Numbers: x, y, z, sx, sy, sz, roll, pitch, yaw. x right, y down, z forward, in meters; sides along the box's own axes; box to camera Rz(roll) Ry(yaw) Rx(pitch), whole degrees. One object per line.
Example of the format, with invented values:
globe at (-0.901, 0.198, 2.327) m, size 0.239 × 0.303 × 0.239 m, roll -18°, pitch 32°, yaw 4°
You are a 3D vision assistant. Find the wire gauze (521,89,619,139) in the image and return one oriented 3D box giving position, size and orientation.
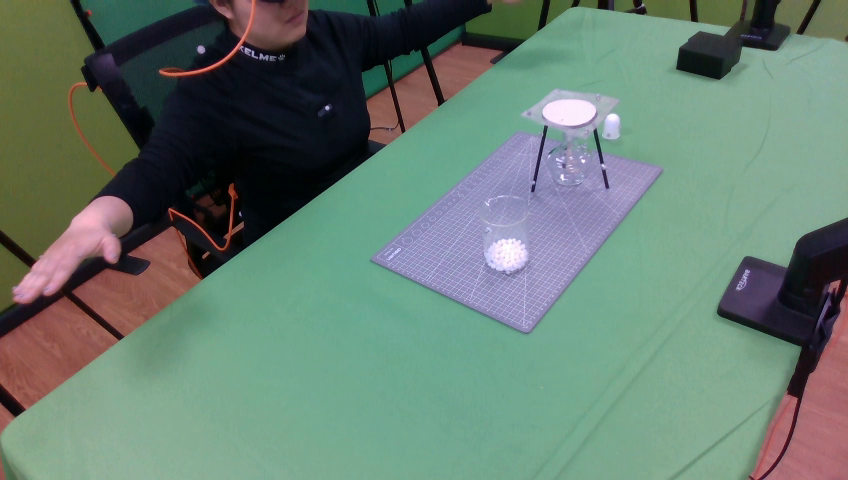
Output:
wire gauze at (0.239, -0.213, 0.994) m, size 0.124 × 0.011 × 0.122 m, roll 24°, pitch 49°, yaw 32°

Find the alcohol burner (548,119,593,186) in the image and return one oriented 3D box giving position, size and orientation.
alcohol burner at (0.252, -0.154, 1.042) m, size 0.078 × 0.120 × 0.077 m, roll -7°, pitch 40°, yaw 6°

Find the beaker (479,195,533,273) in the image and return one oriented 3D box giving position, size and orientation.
beaker at (0.122, -0.007, 0.904) m, size 0.074 × 0.101 × 0.083 m, roll -30°, pitch 43°, yaw -23°

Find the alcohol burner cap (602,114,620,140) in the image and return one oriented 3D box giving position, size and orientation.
alcohol burner cap at (0.359, -0.217, 1.157) m, size 0.034 × 0.048 × 0.033 m, roll -6°, pitch 40°, yaw 6°

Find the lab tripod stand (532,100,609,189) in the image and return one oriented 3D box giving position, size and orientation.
lab tripod stand at (0.251, -0.161, 1.034) m, size 0.148 × 0.132 × 0.147 m, roll -4°, pitch 39°, yaw 4°
